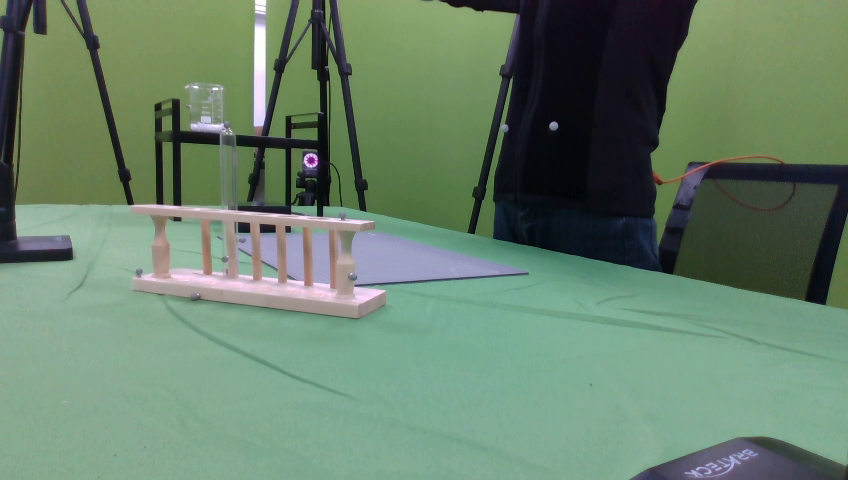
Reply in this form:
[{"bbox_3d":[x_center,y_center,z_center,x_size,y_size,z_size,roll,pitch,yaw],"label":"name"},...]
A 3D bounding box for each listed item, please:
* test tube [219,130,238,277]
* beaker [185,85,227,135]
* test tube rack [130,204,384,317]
[{"bbox_3d":[-0.198,-0.036,0.613,0.017,0.150,0.017,2,8,0],"label":"test tube"},{"bbox_3d":[-0.460,-0.275,1.282,0.084,0.100,0.073,-3,8,-27],"label":"beaker"},{"bbox_3d":[-0.163,0.013,0.589,0.242,0.085,0.067,5,8,17],"label":"test tube rack"}]
